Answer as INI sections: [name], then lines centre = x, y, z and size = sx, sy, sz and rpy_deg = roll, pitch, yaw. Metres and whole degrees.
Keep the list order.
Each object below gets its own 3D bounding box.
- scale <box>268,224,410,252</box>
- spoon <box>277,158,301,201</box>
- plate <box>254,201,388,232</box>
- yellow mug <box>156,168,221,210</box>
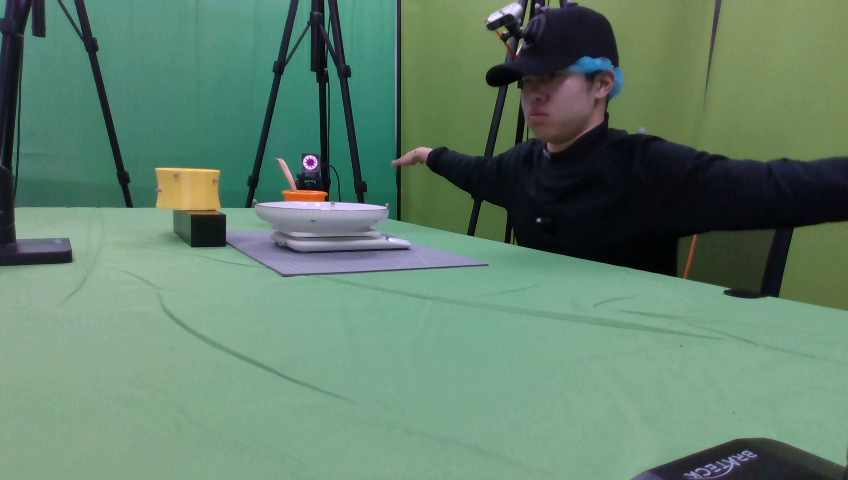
[scale]
centre = -0.137, -0.006, 0.980
size = 0.202, 0.031, 0.148
rpy_deg = -1, 8, -30
[spoon]
centre = -0.272, -0.103, 1.260
size = 0.042, 0.193, 0.021
rpy_deg = -5, -34, -33
[plate]
centre = -0.161, -0.038, 0.961
size = 0.209, 0.038, 0.209
rpy_deg = 2, 6, 0
[yellow mug]
centre = -0.395, -0.088, 1.025
size = 0.100, 0.064, 0.130
rpy_deg = 2, 7, -9
